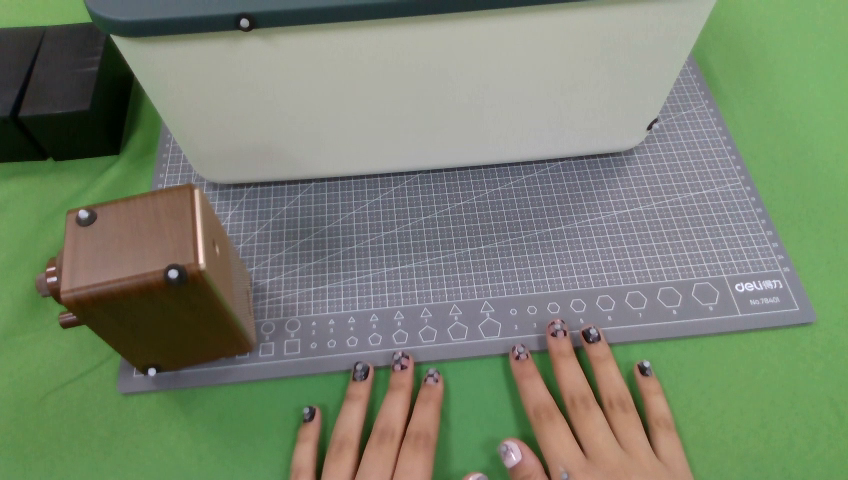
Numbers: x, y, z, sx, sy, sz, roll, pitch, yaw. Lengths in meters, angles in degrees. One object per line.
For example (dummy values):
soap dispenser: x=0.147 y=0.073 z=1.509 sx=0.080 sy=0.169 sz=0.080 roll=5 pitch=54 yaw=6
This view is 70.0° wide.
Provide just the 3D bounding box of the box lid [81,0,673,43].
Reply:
box lid: x=-0.015 y=-0.229 z=0.394 sx=0.372 sy=0.015 sz=0.260 roll=-5 pitch=57 yaw=-2

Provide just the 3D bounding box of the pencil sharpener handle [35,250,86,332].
pencil sharpener handle: x=-0.201 y=0.033 z=0.337 sx=0.031 sy=0.068 sz=0.035 roll=-13 pitch=61 yaw=-6

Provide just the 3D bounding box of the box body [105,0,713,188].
box body: x=-0.012 y=-0.188 z=0.457 sx=0.364 sy=0.162 sz=0.251 roll=-5 pitch=58 yaw=-3

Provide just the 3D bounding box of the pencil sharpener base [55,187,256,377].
pencil sharpener base: x=-0.151 y=0.029 z=0.353 sx=0.077 sy=0.108 sz=0.061 roll=-13 pitch=59 yaw=-6
